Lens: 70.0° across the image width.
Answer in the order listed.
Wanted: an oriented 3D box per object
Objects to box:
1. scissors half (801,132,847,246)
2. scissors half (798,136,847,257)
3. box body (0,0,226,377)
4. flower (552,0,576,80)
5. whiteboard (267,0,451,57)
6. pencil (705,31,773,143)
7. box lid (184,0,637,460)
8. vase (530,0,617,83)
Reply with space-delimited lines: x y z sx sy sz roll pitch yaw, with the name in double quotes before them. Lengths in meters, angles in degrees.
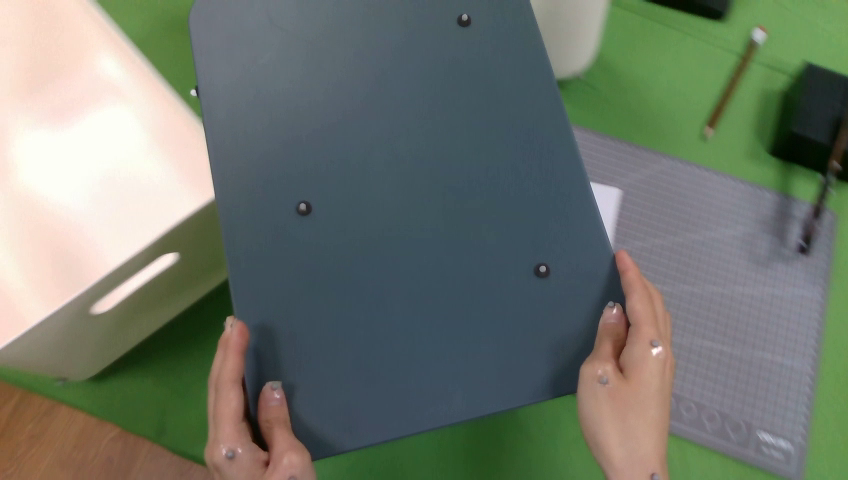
"scissors half" 0.429 -0.070 0.633 0.012 0.040 0.174 22 70 27
"scissors half" 0.437 -0.063 0.650 0.012 0.040 0.175 21 88 33
"box body" -0.356 -0.077 0.594 0.254 0.161 0.362 -39 73 -15
"flower" 0.165 -0.312 0.593 0.044 0.365 0.038 15 51 9
"whiteboard" -0.095 -0.400 0.689 0.217 0.308 0.142 -12 49 -5
"pencil" 0.383 -0.188 0.738 0.012 0.012 0.193 32 72 12
"box lid" -0.021 -0.056 0.440 0.263 0.015 0.369 -13 75 -5
"vase" 0.166 -0.266 0.663 0.098 0.201 0.097 0 66 0
